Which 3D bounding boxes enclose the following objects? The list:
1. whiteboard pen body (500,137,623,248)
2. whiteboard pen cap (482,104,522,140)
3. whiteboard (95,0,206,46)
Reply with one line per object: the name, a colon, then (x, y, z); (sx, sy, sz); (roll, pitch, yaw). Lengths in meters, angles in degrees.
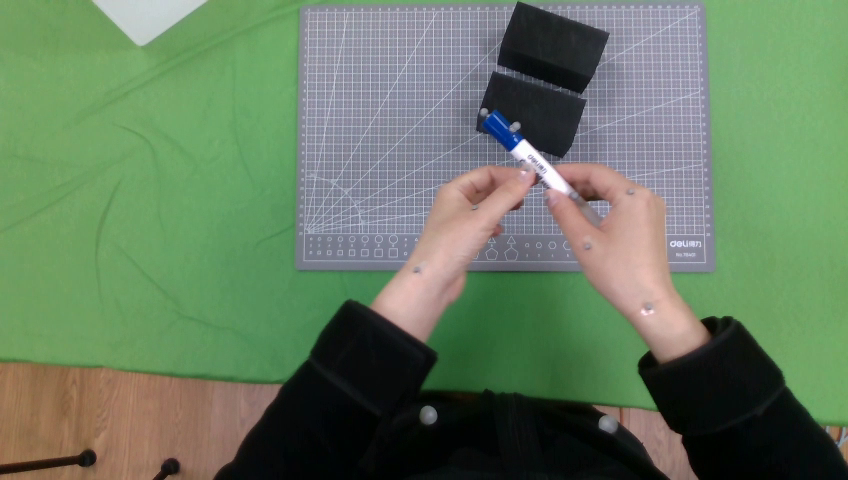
whiteboard pen body: (0.102, -0.045, 0.474); (0.141, 0.017, 0.017); (43, 88, -5)
whiteboard pen cap: (0.061, -0.088, 0.470); (0.033, 0.018, 0.018); (43, 88, -6)
whiteboard: (-0.307, -0.389, 0.581); (0.217, 0.308, 0.142); (-35, 65, -1)
